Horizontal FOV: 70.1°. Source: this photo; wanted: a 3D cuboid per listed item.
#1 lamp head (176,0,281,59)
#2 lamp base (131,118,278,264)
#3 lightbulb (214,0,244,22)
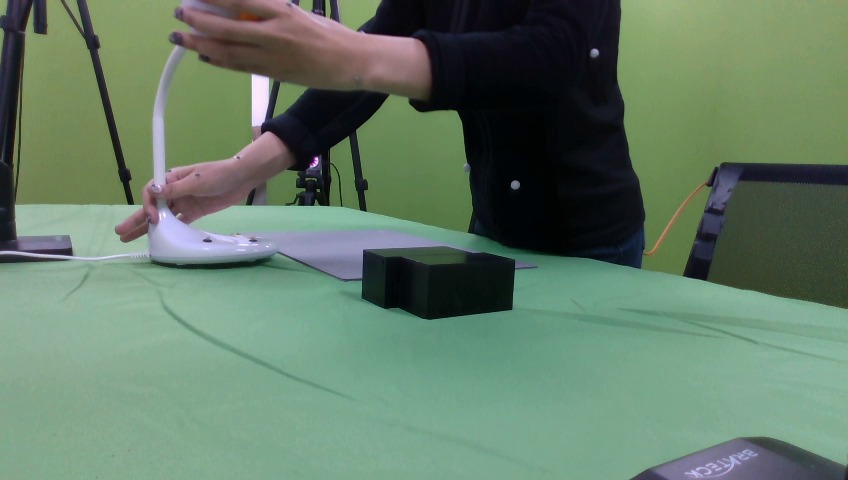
[{"bbox_3d":[-0.189,-0.237,0.578,0.112,0.123,0.112,5,6,0],"label":"lamp head"},{"bbox_3d":[-0.282,-0.064,0.773,0.180,0.180,0.160,-9,10,-44],"label":"lamp base"},{"bbox_3d":[-0.182,-0.261,0.575,0.059,0.107,0.059,4,-4,1],"label":"lightbulb"}]
